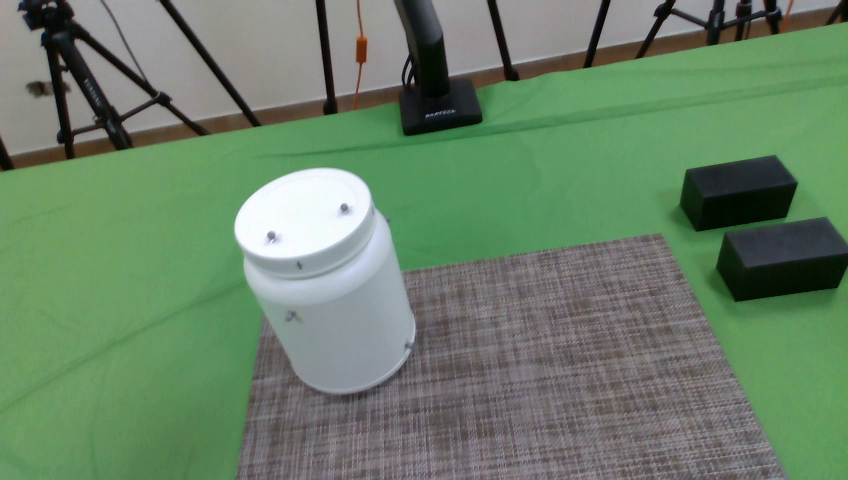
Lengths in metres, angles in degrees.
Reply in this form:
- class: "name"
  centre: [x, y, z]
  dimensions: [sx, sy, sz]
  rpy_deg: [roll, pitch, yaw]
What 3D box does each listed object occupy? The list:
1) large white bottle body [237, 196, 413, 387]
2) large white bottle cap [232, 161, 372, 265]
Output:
- class: "large white bottle body"
  centre: [-0.087, 0.034, 0.559]
  dimensions: [0.130, 0.186, 0.129]
  rpy_deg: [-6, 44, 6]
- class: "large white bottle cap"
  centre: [-0.101, -0.025, 0.500]
  dimensions: [0.115, 0.018, 0.113]
  rpy_deg: [-6, 44, 6]
